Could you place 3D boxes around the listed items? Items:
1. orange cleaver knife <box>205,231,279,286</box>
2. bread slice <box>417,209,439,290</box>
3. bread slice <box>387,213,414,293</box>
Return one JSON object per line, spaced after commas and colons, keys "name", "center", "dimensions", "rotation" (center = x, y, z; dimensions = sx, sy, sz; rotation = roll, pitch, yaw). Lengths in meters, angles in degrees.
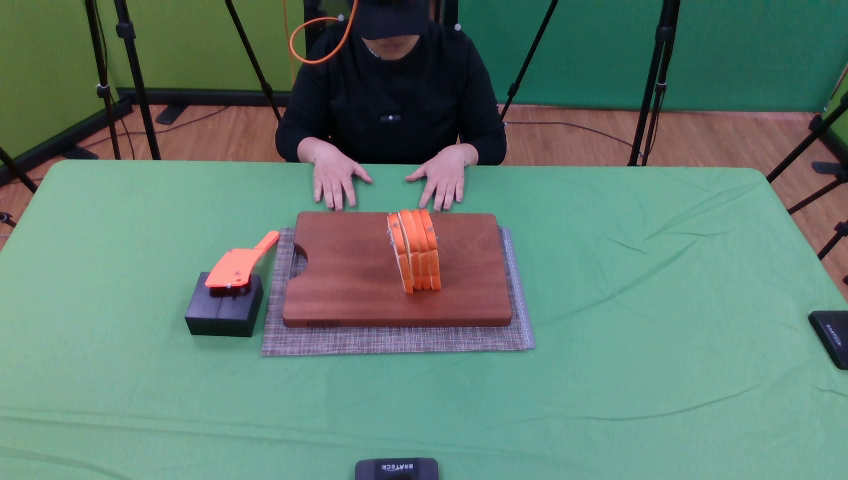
{"name": "orange cleaver knife", "center": [-0.328, 0.031, 1.109], "dimensions": [0.077, 0.012, 0.210], "rotation": [5, 27, 7]}
{"name": "bread slice", "center": [0.007, 0.012, 1.073], "dimensions": [0.018, 0.135, 0.106], "rotation": [-11, 51, -7]}
{"name": "bread slice", "center": [-0.043, 0.016, 1.067], "dimensions": [0.019, 0.132, 0.104], "rotation": [-15, 46, -4]}
